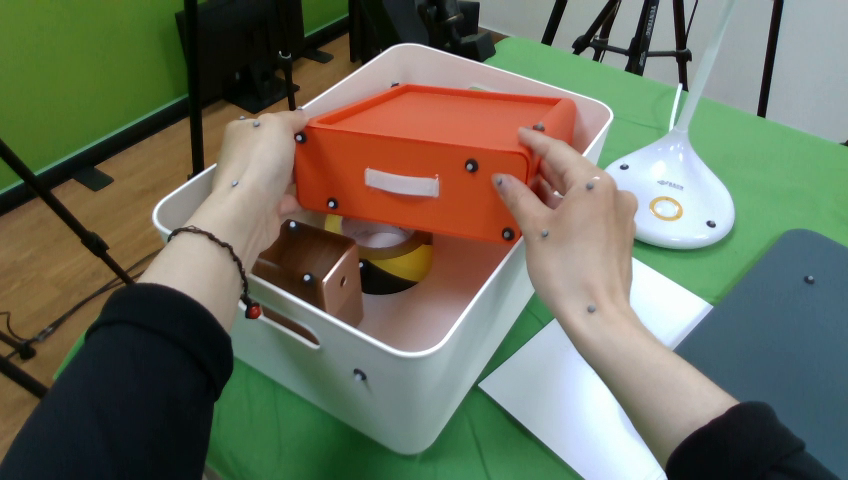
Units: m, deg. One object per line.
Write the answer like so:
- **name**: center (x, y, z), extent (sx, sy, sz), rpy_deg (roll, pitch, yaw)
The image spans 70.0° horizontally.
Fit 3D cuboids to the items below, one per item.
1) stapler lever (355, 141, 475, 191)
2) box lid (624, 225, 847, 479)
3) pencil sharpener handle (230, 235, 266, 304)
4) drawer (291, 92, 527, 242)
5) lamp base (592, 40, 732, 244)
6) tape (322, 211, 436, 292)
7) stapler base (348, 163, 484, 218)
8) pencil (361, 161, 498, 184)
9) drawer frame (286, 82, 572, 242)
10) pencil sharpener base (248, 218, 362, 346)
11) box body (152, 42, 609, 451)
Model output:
- **stapler lever**: center (-0.009, -0.071, 0.523), extent (0.117, 0.040, 0.027), rpy_deg (19, 28, 33)
- **box lid**: center (0.382, 0.128, 0.549), extent (0.371, 0.015, 0.261), rpy_deg (-33, 53, -31)
- **pencil sharpener handle**: center (-0.154, 0.023, 0.538), extent (0.030, 0.068, 0.036), rpy_deg (18, 13, 17)
- **drawer**: center (0.018, -0.082, 0.560), extent (0.193, 0.074, 0.211), rpy_deg (10, 26, 19)
- **lamp base**: center (0.284, -0.116, 0.675), extent (0.160, 0.182, 0.178), rpy_deg (9, 42, 7)
- **tape**: center (-0.045, -0.005, 0.631), extent (0.117, 0.053, 0.115), rpy_deg (-5, 50, 6)
- **stapler base**: center (-0.008, -0.049, 0.532), extent (0.129, 0.024, 0.041), rpy_deg (18, 27, 33)
- **pencil**: center (-0.002, -0.062, 0.562), extent (0.012, 0.012, 0.192), rpy_deg (-33, 28, -31)
- **drawer frame**: center (0.017, -0.085, 0.560), extent (0.201, 0.083, 0.213), rpy_deg (10, 25, 18)
- **pencil sharpener base**: center (-0.104, 0.043, 0.539), extent (0.076, 0.108, 0.061), rpy_deg (18, 47, 17)
- **box body**: center (-0.016, -0.019, 0.575), extent (0.252, 0.162, 0.363), rpy_deg (24, 48, 21)
